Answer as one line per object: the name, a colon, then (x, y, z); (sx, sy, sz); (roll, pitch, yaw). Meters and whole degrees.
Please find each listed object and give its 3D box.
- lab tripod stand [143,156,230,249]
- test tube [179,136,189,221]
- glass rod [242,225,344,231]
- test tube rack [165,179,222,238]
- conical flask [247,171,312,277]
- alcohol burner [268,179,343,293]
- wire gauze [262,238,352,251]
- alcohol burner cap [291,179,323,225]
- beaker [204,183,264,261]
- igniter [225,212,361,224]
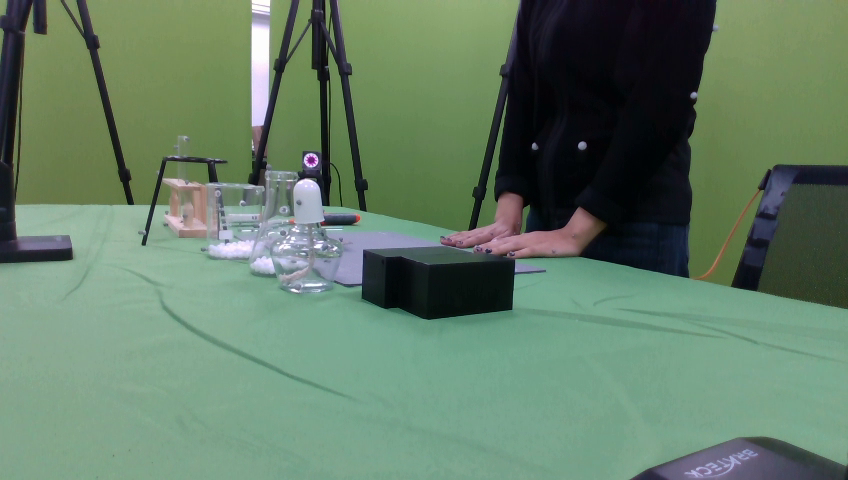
lab tripod stand: (-0.338, -0.058, 0.908); (0.148, 0.131, 0.148); (4, 7, 0)
test tube: (-0.425, -0.108, 1.070); (0.017, 0.150, 0.017); (4, 9, 0)
glass rod: (-0.246, -0.023, 1.154); (0.201, 0.008, 0.008); (-2, 8, -31)
test tube rack: (-0.423, -0.062, 1.098); (0.067, 0.085, 0.241); (-2, 9, -28)
conical flask: (-0.170, -0.021, 0.717); (0.075, 0.122, 0.075); (2, 7, 0)
alcohol burner: (-0.124, -0.005, 0.637); (0.078, 0.119, 0.078); (4, 8, 0)
wire gauze: (-0.184, 0.005, 0.938); (0.122, 0.011, 0.124); (-1, 5, -24)
alcohol burner cap: (-0.124, -0.040, 0.632); (0.034, 0.048, 0.034); (-4, 10, 1)
beaker: (-0.254, -0.026, 0.817); (0.073, 0.100, 0.084); (9, 9, 39)
igniter: (-0.262, -0.044, 1.240); (0.278, 0.025, 0.057); (-2, -1, -31)
